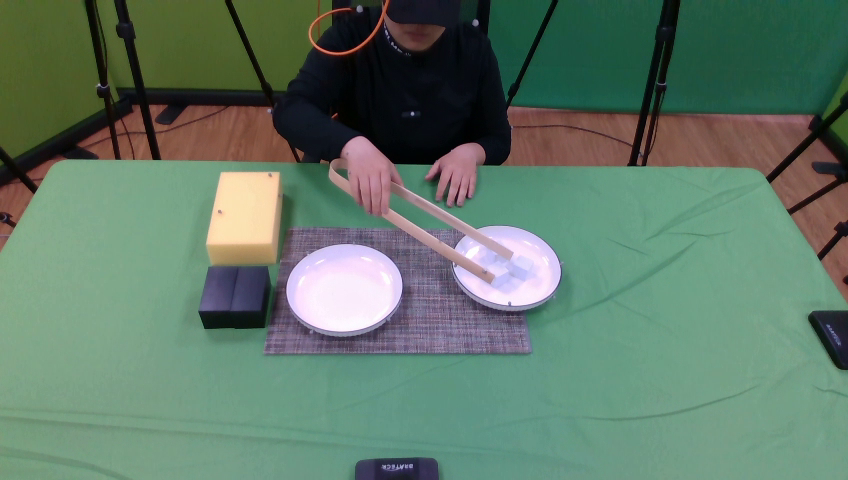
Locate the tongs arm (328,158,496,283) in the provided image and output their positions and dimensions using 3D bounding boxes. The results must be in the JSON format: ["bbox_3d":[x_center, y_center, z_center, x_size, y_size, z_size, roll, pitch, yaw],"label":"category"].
[{"bbox_3d":[-0.028,-0.040,1.115,0.384,0.026,0.050,31,45,12],"label":"tongs arm"}]

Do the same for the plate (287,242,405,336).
[{"bbox_3d":[-0.138,0.090,1.085,0.208,0.039,0.206,2,46,-2],"label":"plate"}]

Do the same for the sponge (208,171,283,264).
[{"bbox_3d":[-0.346,-0.048,1.191,0.118,0.061,0.205,-2,46,-6],"label":"sponge"}]

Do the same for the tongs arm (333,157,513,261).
[{"bbox_3d":[-0.005,-0.062,1.147,0.387,0.028,0.028,30,48,10],"label":"tongs arm"}]

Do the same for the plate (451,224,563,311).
[{"bbox_3d":[0.154,0.053,1.140,0.209,0.038,0.208,2,46,-2],"label":"plate"}]
